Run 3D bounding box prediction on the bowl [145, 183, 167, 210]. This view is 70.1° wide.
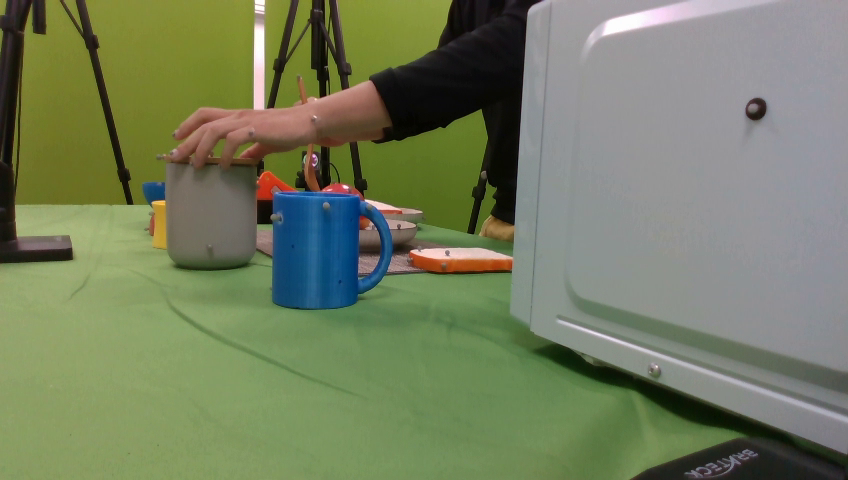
[{"bbox_3d":[-0.459,-0.069,1.175,0.151,0.077,0.151,3,7,0],"label":"bowl"}]

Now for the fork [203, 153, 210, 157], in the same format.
[{"bbox_3d":[-0.480,-0.136,1.412,0.028,0.018,0.207,0,-34,-1],"label":"fork"}]

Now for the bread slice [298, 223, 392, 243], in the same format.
[{"bbox_3d":[-0.119,-0.012,0.969,0.106,0.018,0.135,11,10,40],"label":"bread slice"}]

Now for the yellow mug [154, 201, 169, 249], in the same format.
[{"bbox_3d":[-0.337,-0.023,0.899,0.130,0.064,0.100,8,10,34],"label":"yellow mug"}]

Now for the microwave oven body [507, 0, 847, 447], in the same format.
[{"bbox_3d":[0.331,-0.042,0.425,0.444,0.260,0.324,-2,8,-31],"label":"microwave oven body"}]

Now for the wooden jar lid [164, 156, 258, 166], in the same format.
[{"bbox_3d":[-0.261,-0.093,0.747,0.108,0.020,0.108,1,10,0],"label":"wooden jar lid"}]

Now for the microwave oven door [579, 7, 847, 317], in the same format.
[{"bbox_3d":[0.294,-0.067,0.570,0.358,0.243,0.039,-3,9,-31],"label":"microwave oven door"}]

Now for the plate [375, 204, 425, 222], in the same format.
[{"bbox_3d":[-0.102,-0.053,1.299,0.209,0.038,0.209,2,8,0],"label":"plate"}]

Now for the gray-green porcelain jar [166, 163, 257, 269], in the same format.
[{"bbox_3d":[-0.263,-0.031,0.754,0.106,0.126,0.106,2,7,0],"label":"gray-green porcelain jar"}]

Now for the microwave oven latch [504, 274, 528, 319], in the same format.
[{"bbox_3d":[0.100,0.041,0.469,0.079,0.029,0.030,-1,7,-25],"label":"microwave oven latch"}]

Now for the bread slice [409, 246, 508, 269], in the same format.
[{"bbox_3d":[0.048,0.021,0.816,0.132,0.019,0.104,0,7,-24],"label":"bread slice"}]

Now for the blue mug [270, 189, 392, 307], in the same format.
[{"bbox_3d":[-0.089,0.005,0.588,0.117,0.106,0.082,1,7,-10],"label":"blue mug"}]

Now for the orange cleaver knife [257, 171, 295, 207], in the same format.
[{"bbox_3d":[-0.283,-0.086,1.343,0.212,0.077,0.012,24,-16,-41],"label":"orange cleaver knife"}]

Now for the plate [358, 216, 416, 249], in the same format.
[{"bbox_3d":[-0.116,-0.014,0.967,0.208,0.039,0.207,2,7,0],"label":"plate"}]

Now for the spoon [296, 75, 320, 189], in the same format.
[{"bbox_3d":[-0.188,-0.172,0.981,0.021,0.193,0.041,-5,2,8],"label":"spoon"}]

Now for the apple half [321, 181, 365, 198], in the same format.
[{"bbox_3d":[-0.128,-0.077,0.954,0.081,0.033,0.081,7,13,-1],"label":"apple half"}]

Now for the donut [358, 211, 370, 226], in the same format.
[{"bbox_3d":[-0.132,-0.042,0.959,0.099,0.048,0.099,2,7,0],"label":"donut"}]

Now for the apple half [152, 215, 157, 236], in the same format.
[{"bbox_3d":[-0.415,-0.034,1.017,0.081,0.053,0.074,1,10,-9],"label":"apple half"}]
